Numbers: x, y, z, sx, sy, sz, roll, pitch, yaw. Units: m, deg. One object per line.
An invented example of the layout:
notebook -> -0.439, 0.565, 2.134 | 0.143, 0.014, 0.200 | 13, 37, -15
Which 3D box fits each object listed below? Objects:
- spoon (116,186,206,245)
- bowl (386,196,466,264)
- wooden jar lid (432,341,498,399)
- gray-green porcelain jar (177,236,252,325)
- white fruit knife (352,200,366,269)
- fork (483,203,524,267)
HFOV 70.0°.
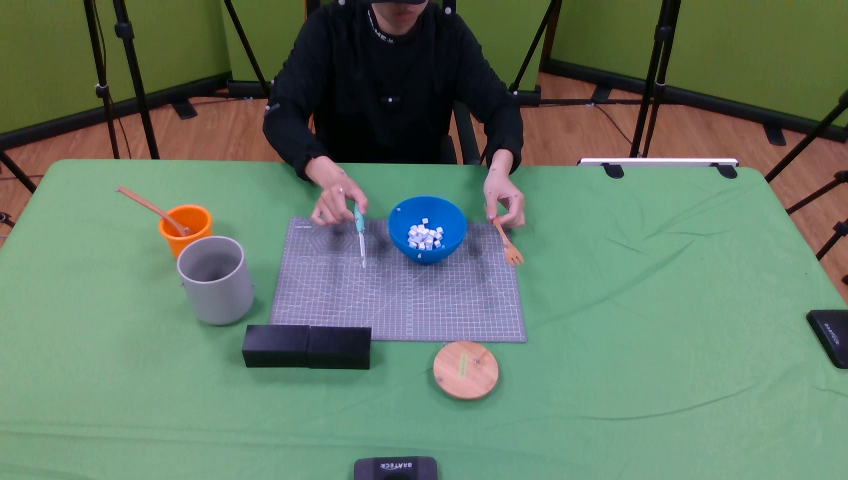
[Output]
spoon -> -0.474, -0.041, 1.112 | 0.021, 0.195, 0.041 | -31, 31, 29
bowl -> 0.002, -0.007, 1.162 | 0.151, 0.077, 0.150 | 3, 46, -2
wooden jar lid -> 0.067, 0.216, 0.997 | 0.108, 0.021, 0.107 | 1, 46, -1
gray-green porcelain jar -> -0.350, 0.073, 1.027 | 0.106, 0.127, 0.105 | 3, 46, -3
white fruit knife -> -0.118, -0.015, 1.115 | 0.016, 0.027, 0.206 | -22, 38, 6
fork -> 0.145, -0.014, 1.142 | 0.028, 0.019, 0.206 | -28, 40, 7
